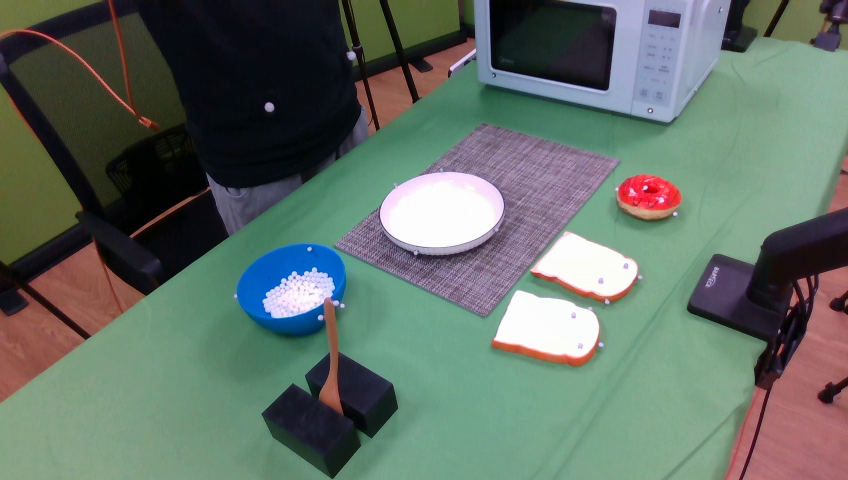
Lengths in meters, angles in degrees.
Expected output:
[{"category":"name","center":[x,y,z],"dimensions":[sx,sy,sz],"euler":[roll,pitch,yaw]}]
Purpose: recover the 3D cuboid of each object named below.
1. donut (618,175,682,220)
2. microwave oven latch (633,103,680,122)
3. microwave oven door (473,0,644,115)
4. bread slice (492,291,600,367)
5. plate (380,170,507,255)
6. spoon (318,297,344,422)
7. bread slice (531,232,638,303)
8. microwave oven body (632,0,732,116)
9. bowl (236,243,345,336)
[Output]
[{"category":"donut","center":[0.366,-0.070,0.981],"dimensions":[0.099,0.048,0.098],"euler":[-3,39,3]},{"category":"microwave oven latch","center":[0.444,-0.249,1.157],"dimensions":[0.078,0.029,0.030],"euler":[21,48,30]},{"category":"microwave oven door","center":[0.257,-0.396,1.199],"dimensions":[0.353,0.245,0.039],"euler":[21,48,29]},{"category":"bread slice","center":[0.169,0.118,0.811],"dimensions":[0.131,0.019,0.105],"euler":[11,44,21]},{"category":"plate","center":[0.033,-0.042,0.995],"dimensions":[0.207,0.039,0.206],"euler":[-4,40,4]},{"category":"spoon","center":[-0.107,0.139,0.687],"dimensions":[0.041,0.194,0.022],"euler":[27,37,31]},{"category":"bread slice","center":[0.242,0.042,0.888],"dimensions":[0.133,0.018,0.107],"euler":[22,49,31]},{"category":"microwave oven body","center":[0.377,-0.462,1.267],"dimensions":[0.438,0.261,0.327],"euler":[21,48,30]},{"category":"bowl","center":[-0.180,0.082,0.855],"dimensions":[0.151,0.077,0.150],"euler":[-4,41,4]}]
